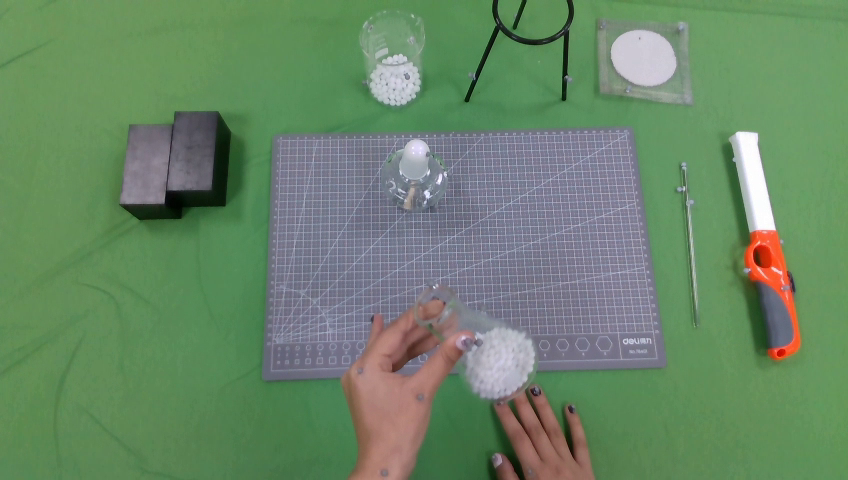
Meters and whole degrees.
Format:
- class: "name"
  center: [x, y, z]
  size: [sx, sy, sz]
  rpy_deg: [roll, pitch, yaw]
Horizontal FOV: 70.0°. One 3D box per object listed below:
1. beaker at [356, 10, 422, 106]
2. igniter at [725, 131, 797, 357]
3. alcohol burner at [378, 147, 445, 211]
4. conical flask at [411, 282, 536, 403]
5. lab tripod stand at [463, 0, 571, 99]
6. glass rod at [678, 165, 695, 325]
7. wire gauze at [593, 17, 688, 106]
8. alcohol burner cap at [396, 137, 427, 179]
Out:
- class: "beaker"
  center: [-0.038, -0.217, 0.732]
  size: [0.084, 0.101, 0.073]
  rpy_deg: [-41, 78, -13]
- class: "igniter"
  center: [0.396, -0.001, 0.715]
  size: [0.057, 0.025, 0.275]
  rpy_deg: [2, 73, -12]
- class: "alcohol burner"
  center: [-0.013, -0.078, 0.681]
  size: [0.078, 0.119, 0.077]
  rpy_deg: [1, 72, -3]
- class: "conical flask"
  center: [0.037, 0.081, 0.507]
  size: [0.075, 0.123, 0.074]
  rpy_deg: [-22, 46, 25]
- class: "lab tripod stand"
  center: [0.114, -0.233, 0.723]
  size: [0.148, 0.132, 0.147]
  rpy_deg: [0, 75, -1]
- class: "glass rod"
  center: [0.312, 0.002, 0.722]
  size: [0.008, 0.008, 0.198]
  rpy_deg: [3, 73, 0]
- class: "wire gauze"
  center: [0.284, -0.238, 0.793]
  size: [0.125, 0.011, 0.121]
  rpy_deg: [6, 74, -1]
- class: "alcohol burner cap"
  center: [-0.012, -0.090, 0.647]
  size: [0.034, 0.048, 0.033]
  rpy_deg: [4, 66, -8]
